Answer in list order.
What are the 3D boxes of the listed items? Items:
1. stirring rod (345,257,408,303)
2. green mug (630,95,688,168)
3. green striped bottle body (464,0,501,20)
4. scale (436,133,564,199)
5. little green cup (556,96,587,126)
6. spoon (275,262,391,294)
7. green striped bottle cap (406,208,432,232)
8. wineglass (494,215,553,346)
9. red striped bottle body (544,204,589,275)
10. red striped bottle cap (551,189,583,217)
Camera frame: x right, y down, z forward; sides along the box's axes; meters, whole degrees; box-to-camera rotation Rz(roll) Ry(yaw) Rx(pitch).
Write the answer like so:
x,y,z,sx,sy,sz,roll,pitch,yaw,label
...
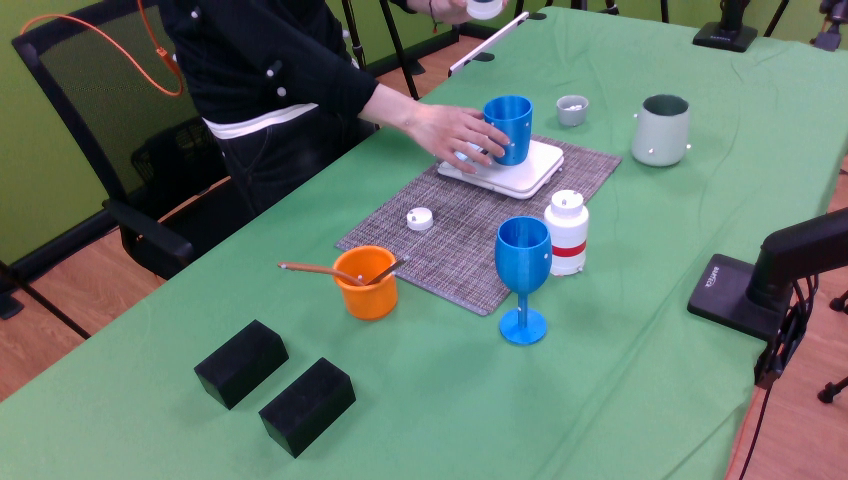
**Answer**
x,y,z,sx,sy,sz,roll,pitch,yaw,label
-0.067,0.056,0.814,0.014,0.175,0.006,-23,81,-37,stirring rod
0.421,-0.201,1.081,0.092,0.105,0.125,5,42,15,green mug
0.095,-0.425,0.985,0.063,0.120,0.063,-2,62,4,green striped bottle body
0.137,-0.142,1.101,0.199,0.032,0.149,22,48,30,scale
0.295,-0.258,1.214,0.061,0.039,0.061,-4,42,4,little green cup
-0.120,0.050,0.830,0.041,0.195,0.021,31,96,45,spoon
-0.009,-0.034,1.011,0.044,0.020,0.044,0,41,1,green striped bottle cap
0.127,0.055,0.770,0.074,0.173,0.073,-4,40,4,wineglass
0.206,-0.011,0.877,0.063,0.120,0.062,-5,41,4,red striped bottle body
0.200,-0.052,0.843,0.044,0.018,0.044,-2,42,2,red striped bottle cap
